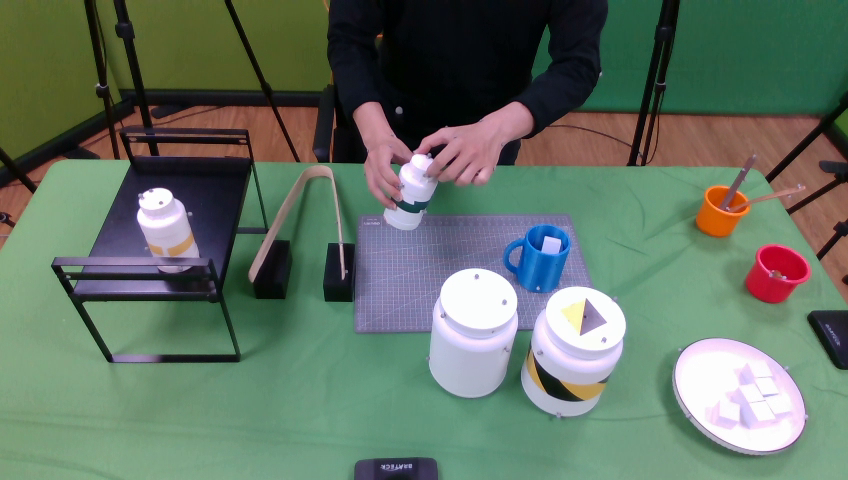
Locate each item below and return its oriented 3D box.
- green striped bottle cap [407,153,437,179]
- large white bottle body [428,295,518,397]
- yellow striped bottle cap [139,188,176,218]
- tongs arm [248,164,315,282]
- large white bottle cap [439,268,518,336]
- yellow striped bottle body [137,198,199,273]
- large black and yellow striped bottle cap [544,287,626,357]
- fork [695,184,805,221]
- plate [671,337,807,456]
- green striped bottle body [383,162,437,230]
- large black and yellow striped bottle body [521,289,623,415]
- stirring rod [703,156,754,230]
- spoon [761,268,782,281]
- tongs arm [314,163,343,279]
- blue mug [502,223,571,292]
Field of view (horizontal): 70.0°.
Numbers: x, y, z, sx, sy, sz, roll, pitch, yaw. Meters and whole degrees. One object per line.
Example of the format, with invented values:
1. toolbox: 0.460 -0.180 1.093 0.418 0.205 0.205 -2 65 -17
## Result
1. green striped bottle cap: -0.003 -0.114 0.934 0.044 0.020 0.044 17 39 -14
2. large white bottle body: 0.075 0.147 0.950 0.131 0.185 0.130 2 47 -2
3. yellow striped bottle cap: -0.363 -0.051 0.826 0.044 0.019 0.044 1 47 0
4. tongs arm: -0.269 -0.047 1.166 0.028 0.028 0.385 -1 34 7
5. large white bottle cap: 0.080 0.089 0.888 0.115 0.018 0.114 2 47 -2
6. yellow striped bottle body: -0.366 -0.014 0.864 0.063 0.121 0.062 2 46 -2
7. large black and yellow striped bottle cap: 0.232 0.116 0.876 0.115 0.019 0.114 1 45 -1
8. fork: 0.657 -0.075 1.230 0.207 0.019 0.028 -23 34 37
9. plate: 0.504 0.253 0.984 0.208 0.039 0.206 2 46 -2
10. green striped bottle body: -0.020 -0.078 0.969 0.063 0.119 0.063 13 43 -12
11. large black and yellow striped bottle body: 0.228 0.173 0.938 0.131 0.185 0.130 2 47 -2
12. stirring rod: 0.631 -0.098 1.258 0.014 0.006 0.176 33 95 29
13. spoon: 0.638 0.060 1.105 0.041 0.021 0.194 38 11 24
14. tongs arm: -0.188 -0.049 1.170 0.051 0.026 0.382 -6 35 -6
15. blue mug: 0.202 0.031 1.121 0.116 0.106 0.082 5 47 1
